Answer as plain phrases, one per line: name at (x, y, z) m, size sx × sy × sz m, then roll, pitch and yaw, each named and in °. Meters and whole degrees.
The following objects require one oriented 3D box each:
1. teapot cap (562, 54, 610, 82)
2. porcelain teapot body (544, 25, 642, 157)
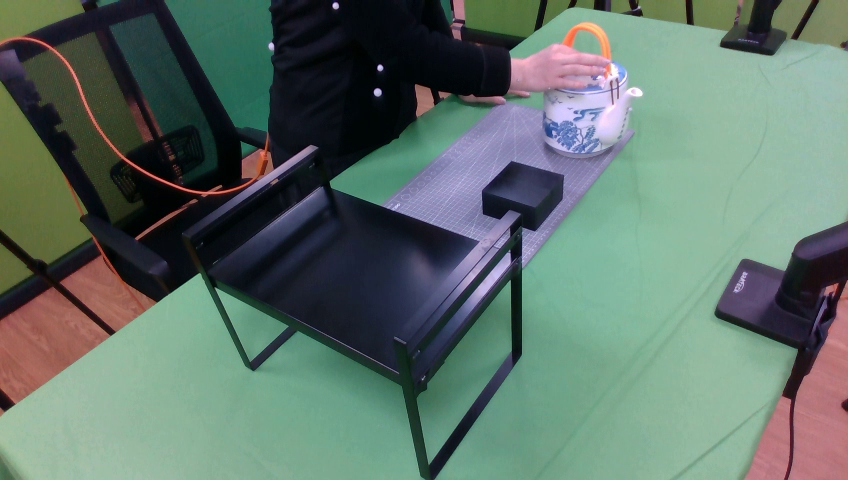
teapot cap at (0.287, -0.303, 1.064) m, size 0.085 × 0.044 × 0.085 m, roll -1°, pitch 41°, yaw 1°
porcelain teapot body at (0.306, -0.258, 1.071) m, size 0.146 × 0.226 × 0.203 m, roll -26°, pitch 44°, yaw -20°
